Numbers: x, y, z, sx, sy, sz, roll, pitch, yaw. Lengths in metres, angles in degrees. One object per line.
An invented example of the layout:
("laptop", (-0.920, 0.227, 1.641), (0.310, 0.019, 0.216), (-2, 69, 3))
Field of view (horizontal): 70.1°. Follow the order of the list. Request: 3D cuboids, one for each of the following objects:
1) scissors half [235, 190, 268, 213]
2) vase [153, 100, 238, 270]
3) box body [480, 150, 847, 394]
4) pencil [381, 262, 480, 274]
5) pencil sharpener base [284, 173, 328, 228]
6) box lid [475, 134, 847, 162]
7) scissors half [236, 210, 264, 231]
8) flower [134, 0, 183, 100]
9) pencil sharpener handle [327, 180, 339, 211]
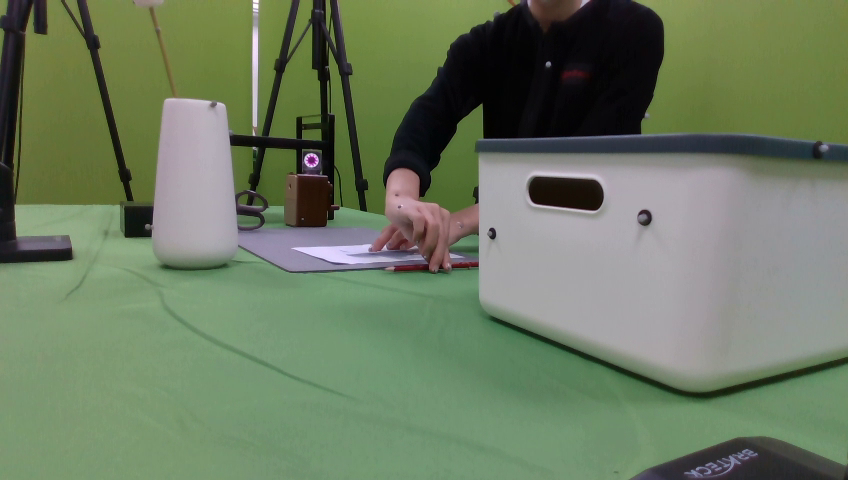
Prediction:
("scissors half", (-0.363, -0.070, 1.060), (0.176, 0.040, 0.013), (0, 16, -23))
("vase", (-0.278, -0.066, 0.736), (0.098, 0.200, 0.098), (2, 9, 0))
("box body", (0.254, 0.002, 0.539), (0.366, 0.160, 0.253), (-2, 8, -31))
("pencil", (0.032, 0.036, 0.792), (0.195, 0.012, 0.012), (-2, 9, -29))
("pencil sharpener base", (-0.239, -0.081, 1.231), (0.077, 0.107, 0.061), (-2, 8, -36))
("box lid", (0.256, -0.073, 0.528), (0.373, 0.015, 0.262), (-2, 8, -31))
("scissors half", (-0.369, -0.051, 1.065), (0.176, 0.040, 0.012), (19, 14, -27))
("flower", (-0.282, -0.147, 0.713), (0.038, 0.362, 0.044), (-23, 24, -31))
("pencil sharpener handle", (-0.194, -0.095, 1.257), (0.031, 0.067, 0.036), (-2, -5, -36))
